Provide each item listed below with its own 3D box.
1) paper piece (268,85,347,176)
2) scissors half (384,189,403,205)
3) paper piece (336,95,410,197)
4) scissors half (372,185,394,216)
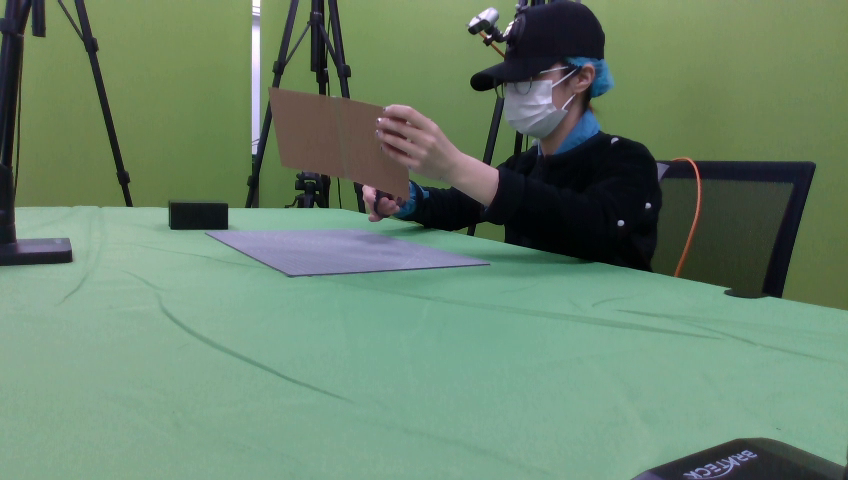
[{"bbox_3d":[-0.186,-0.173,0.962,0.135,0.135,0.004,13,35,26],"label":"paper piece"},{"bbox_3d":[-0.078,-0.116,1.069,0.013,0.040,0.176,20,-15,32],"label":"scissors half"},{"bbox_3d":[-0.076,-0.141,0.896,0.137,0.136,0.009,19,40,34],"label":"paper piece"},{"bbox_3d":[-0.089,-0.101,1.062,0.012,0.175,0.040,26,62,34],"label":"scissors half"}]
